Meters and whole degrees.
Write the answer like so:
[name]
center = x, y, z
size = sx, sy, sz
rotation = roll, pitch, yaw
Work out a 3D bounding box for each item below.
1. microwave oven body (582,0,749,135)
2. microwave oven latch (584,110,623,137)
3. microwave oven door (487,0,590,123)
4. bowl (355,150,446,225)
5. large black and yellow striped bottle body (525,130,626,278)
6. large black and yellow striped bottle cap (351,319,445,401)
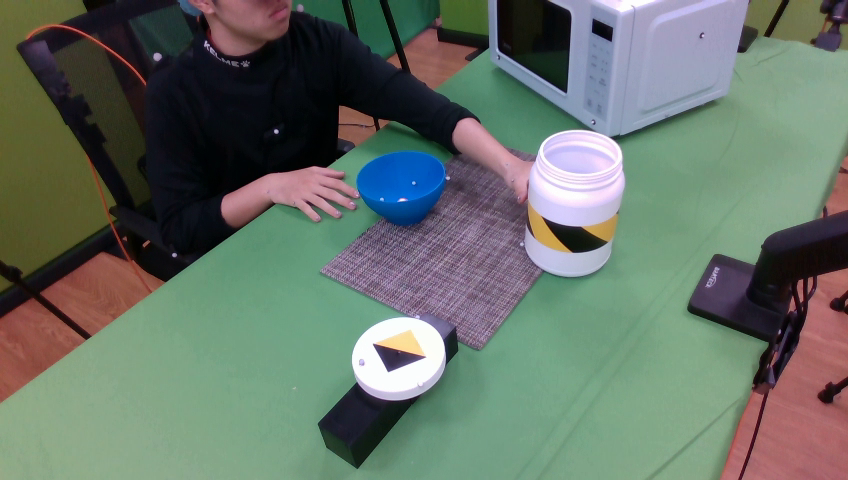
[microwave oven body]
center = 0.382, -0.444, 1.246
size = 0.327, 0.261, 0.437
rotation = -22, 42, -16
[microwave oven latch]
center = 0.337, -0.222, 1.142
size = 0.030, 0.029, 0.078
rotation = -21, 42, -14
[microwave oven door]
center = 0.231, -0.420, 1.230
size = 0.039, 0.245, 0.352
rotation = -22, 43, -16
[bowl]
center = -0.035, -0.078, 1.017
size = 0.151, 0.077, 0.150
rotation = -4, 40, 4
[large black and yellow striped bottle body]
center = 0.216, -0.051, 0.870
size = 0.131, 0.185, 0.130
rotation = -2, 43, 2
[large black and yellow striped bottle cap]
center = -0.031, 0.143, 0.735
size = 0.115, 0.019, 0.114
rotation = -3, 40, 3
